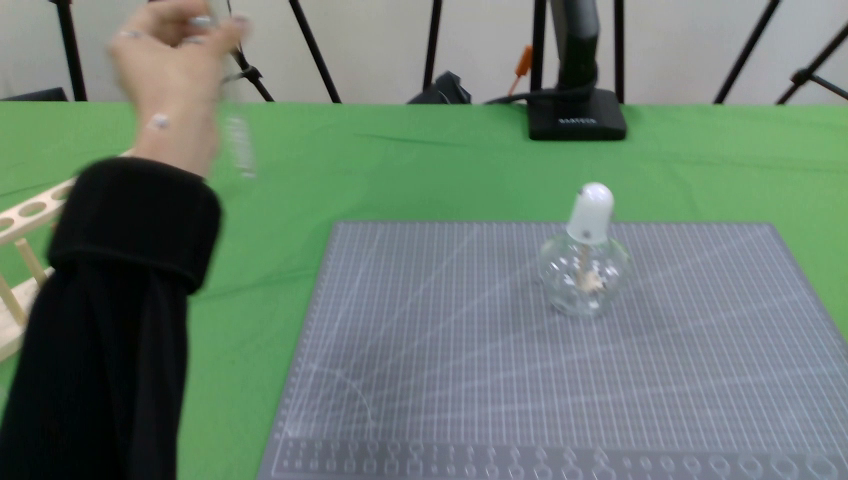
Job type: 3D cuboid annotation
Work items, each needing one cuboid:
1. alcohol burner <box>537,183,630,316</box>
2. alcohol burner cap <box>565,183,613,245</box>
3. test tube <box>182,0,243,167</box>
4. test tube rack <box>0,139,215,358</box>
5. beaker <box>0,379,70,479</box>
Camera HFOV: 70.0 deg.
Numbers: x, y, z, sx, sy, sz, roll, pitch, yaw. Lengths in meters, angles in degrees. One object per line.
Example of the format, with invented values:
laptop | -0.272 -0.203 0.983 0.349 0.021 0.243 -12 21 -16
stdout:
alcohol burner | 0.134 0.005 0.505 0.078 0.120 0.077 -2 37 2
alcohol burner cap | 0.133 -0.022 0.482 0.034 0.048 0.033 3 39 -2
test tube | -0.150 -0.120 0.424 0.017 0.151 0.017 -2 34 2
test tube rack | -0.322 0.003 0.558 0.066 0.086 0.242 25 46 29
beaker | -0.274 0.145 0.370 0.084 0.101 0.073 -15 41 -14
